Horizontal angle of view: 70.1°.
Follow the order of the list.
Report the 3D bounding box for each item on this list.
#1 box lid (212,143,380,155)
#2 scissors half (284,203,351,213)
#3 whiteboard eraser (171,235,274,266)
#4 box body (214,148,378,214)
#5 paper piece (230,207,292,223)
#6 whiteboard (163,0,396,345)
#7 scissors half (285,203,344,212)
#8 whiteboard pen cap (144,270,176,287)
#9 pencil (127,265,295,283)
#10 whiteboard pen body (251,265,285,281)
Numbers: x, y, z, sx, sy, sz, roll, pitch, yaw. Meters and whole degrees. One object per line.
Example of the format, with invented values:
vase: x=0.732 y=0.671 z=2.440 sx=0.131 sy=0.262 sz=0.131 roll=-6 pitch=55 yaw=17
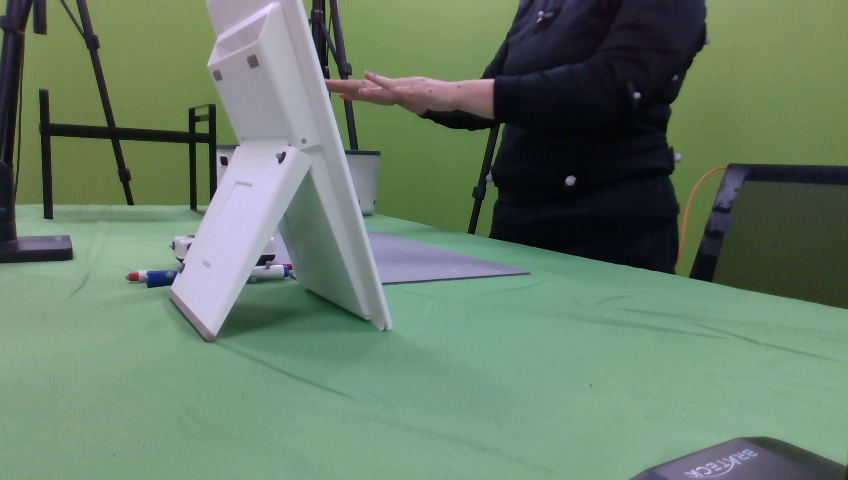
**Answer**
box lid: x=-0.326 y=-0.227 z=1.533 sx=0.373 sy=0.015 sz=0.262 roll=-2 pitch=8 yaw=-32
scissors half: x=-0.268 y=-0.079 z=1.535 sx=0.176 sy=0.013 sz=0.040 roll=-7 pitch=12 yaw=-23
whiteboard eraser: x=-0.248 y=0.014 z=0.747 sx=0.113 sy=0.042 sz=0.055 roll=-1 pitch=10 yaw=-32
box body: x=-0.328 y=-0.154 z=1.543 sx=0.366 sy=0.160 sz=0.253 roll=-2 pitch=9 yaw=-32
paper piece: x=-0.395 y=-0.062 z=1.461 sx=0.139 sy=0.008 sz=0.135 roll=14 pitch=-4 yaw=-22
whiteboard: x=-0.173 y=-0.053 z=0.511 sx=0.144 sy=0.305 sz=0.216 roll=-23 pitch=19 yaw=-26
scissors half: x=-0.280 y=-0.081 z=1.552 sx=0.040 sy=0.013 sz=0.176 roll=1 pitch=9 yaw=45
whiteboard pen cap: x=-0.271 y=0.039 z=0.627 sx=0.033 sy=0.018 sz=0.018 roll=-3 pitch=10 yaw=-32
pencil: x=-0.231 y=0.037 z=0.690 sx=0.195 sy=0.012 sz=0.012 roll=-2 pitch=9 yaw=-34
whiteboard pen body: x=-0.220 y=0.039 z=0.656 sx=0.141 sy=0.017 sz=0.017 roll=-2 pitch=9 yaw=-31
